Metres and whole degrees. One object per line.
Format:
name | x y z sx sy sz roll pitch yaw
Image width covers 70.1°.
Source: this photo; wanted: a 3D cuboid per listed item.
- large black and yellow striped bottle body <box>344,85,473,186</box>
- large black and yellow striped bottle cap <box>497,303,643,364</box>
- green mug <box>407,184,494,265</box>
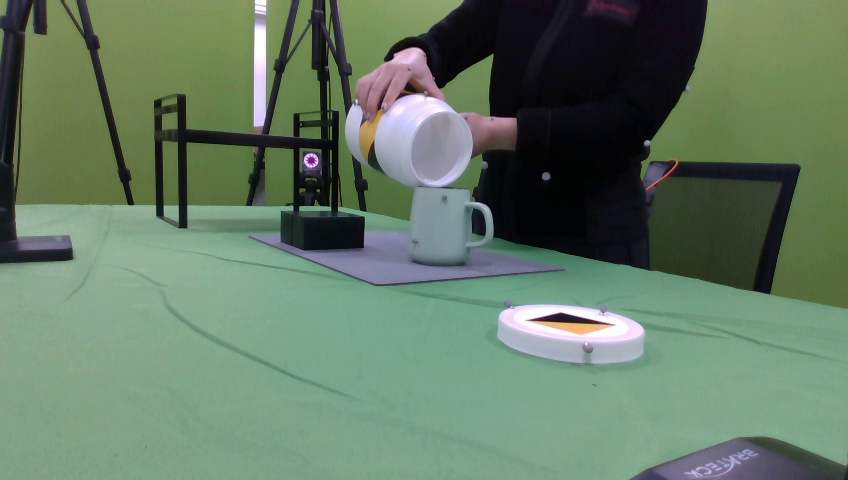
large black and yellow striped bottle body | -0.024 -0.154 0.896 0.131 0.130 0.183 -3 20 -33
large black and yellow striped bottle cap | 0.117 0.072 0.486 0.115 0.019 0.115 1 8 0
green mug | 0.038 -0.021 0.827 0.125 0.105 0.093 7 8 30
